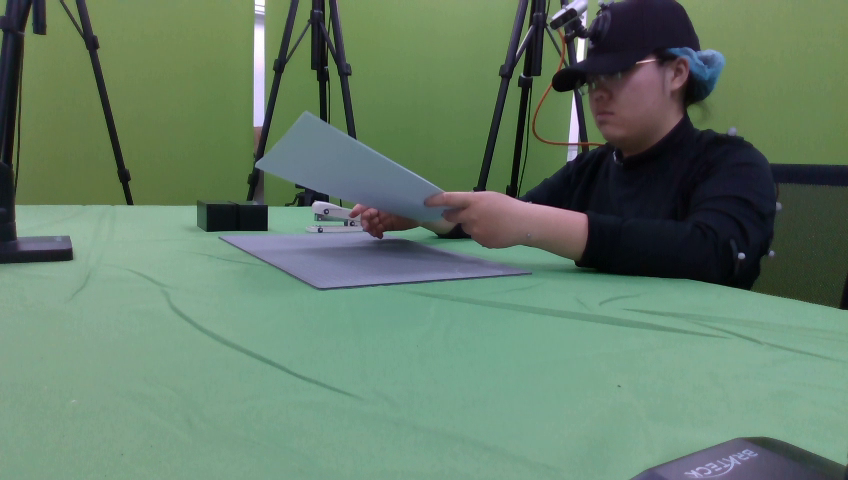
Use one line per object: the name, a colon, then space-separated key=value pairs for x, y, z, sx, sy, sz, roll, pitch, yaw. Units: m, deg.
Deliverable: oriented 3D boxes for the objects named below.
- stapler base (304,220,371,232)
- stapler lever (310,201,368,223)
stapler base: x=-0.169 y=-0.029 z=1.186 sx=0.131 sy=0.024 sz=0.041 roll=0 pitch=9 yaw=-33
stapler lever: x=-0.166 y=-0.054 z=1.185 sx=0.119 sy=0.040 sz=0.026 roll=0 pitch=9 yaw=-33
